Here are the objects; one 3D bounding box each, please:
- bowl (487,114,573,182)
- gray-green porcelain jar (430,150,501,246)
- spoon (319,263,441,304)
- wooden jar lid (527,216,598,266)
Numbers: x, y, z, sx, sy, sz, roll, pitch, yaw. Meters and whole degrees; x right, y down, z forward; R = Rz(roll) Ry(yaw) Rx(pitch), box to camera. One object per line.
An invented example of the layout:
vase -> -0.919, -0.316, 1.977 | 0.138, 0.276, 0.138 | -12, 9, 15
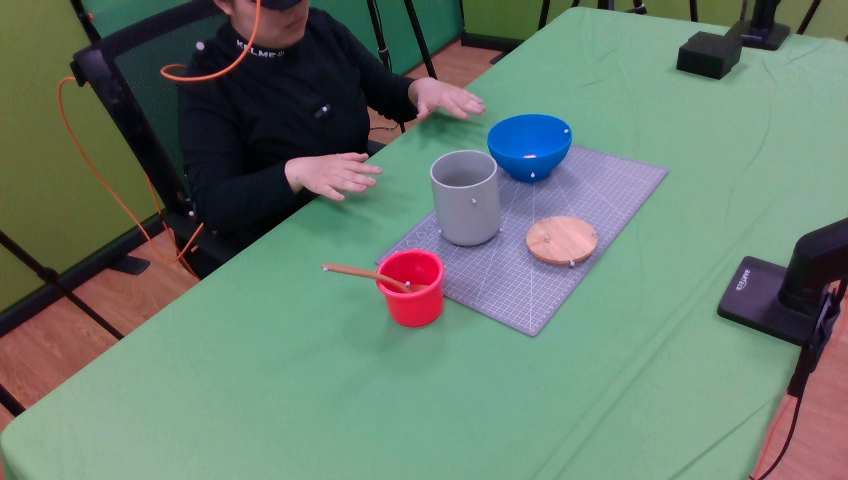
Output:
bowl -> 0.190, -0.156, 1.085 | 0.151, 0.077, 0.150 | -5, 40, 5
gray-green porcelain jar -> 0.068, -0.062, 0.958 | 0.106, 0.127, 0.105 | -5, 40, 5
spoon -> -0.056, 0.056, 0.833 | 0.195, 0.021, 0.041 | 22, 27, -35
wooden jar lid -> 0.214, 0.003, 0.936 | 0.108, 0.021, 0.108 | -4, 40, 4
